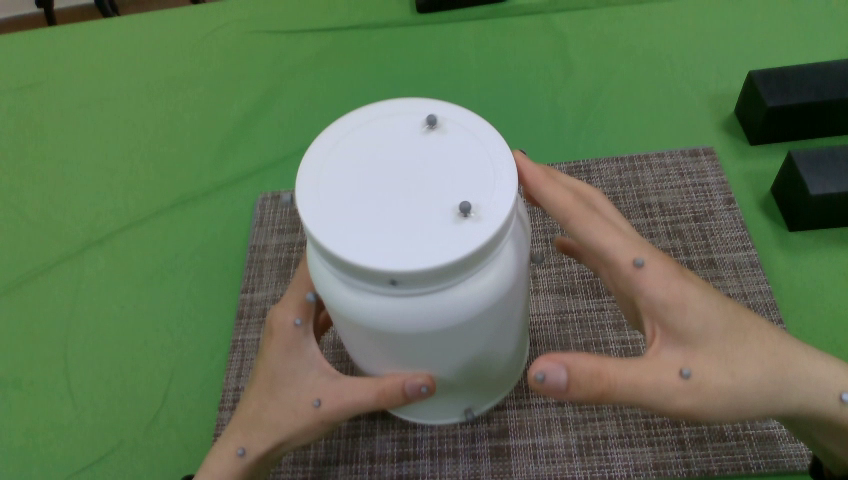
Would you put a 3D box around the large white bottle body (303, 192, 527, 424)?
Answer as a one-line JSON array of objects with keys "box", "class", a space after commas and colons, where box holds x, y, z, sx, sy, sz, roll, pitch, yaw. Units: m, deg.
[{"box": [0.000, 0.024, 0.385, 0.130, 0.186, 0.129, -4, 52, 6], "class": "large white bottle body"}]

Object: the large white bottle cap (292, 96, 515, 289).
[{"box": [-0.011, -0.028, 0.313, 0.115, 0.018, 0.114, -1, 58, 2], "class": "large white bottle cap"}]
